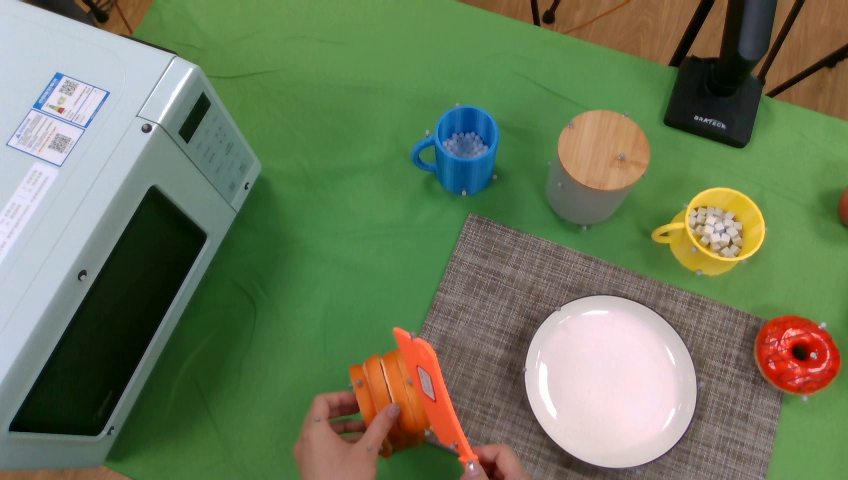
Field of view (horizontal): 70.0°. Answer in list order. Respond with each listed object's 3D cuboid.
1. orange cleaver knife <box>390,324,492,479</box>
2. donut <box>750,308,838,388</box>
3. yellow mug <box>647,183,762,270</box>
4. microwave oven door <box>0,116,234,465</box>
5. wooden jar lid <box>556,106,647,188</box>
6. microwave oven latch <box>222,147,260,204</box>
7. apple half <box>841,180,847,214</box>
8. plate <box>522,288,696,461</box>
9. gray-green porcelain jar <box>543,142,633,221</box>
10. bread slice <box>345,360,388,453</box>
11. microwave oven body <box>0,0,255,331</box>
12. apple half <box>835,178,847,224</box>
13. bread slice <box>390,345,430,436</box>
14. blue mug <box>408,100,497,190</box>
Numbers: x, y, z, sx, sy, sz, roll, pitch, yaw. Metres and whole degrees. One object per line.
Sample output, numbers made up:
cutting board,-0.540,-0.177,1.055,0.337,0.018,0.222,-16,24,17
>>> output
orange cleaver knife,0.021,0.175,0.588,0.012,0.077,0.212,-30,101,-30
donut,0.454,0.133,0.748,0.099,0.048,0.098,0,72,2
yellow mug,0.360,-0.016,0.792,0.131,0.064,0.099,-2,72,1
microwave oven door,-0.343,0.069,0.668,0.039,0.245,0.354,21,73,8
wooden jar lid,0.212,-0.110,0.729,0.108,0.021,0.107,0,70,1
microwave oven latch,-0.253,-0.091,0.825,0.030,0.029,0.079,24,75,9
apple half,0.601,-0.055,0.795,0.053,0.075,0.080,-9,68,-7
plate,0.223,0.163,0.747,0.207,0.039,0.206,0,72,2
gray-green porcelain jar,0.214,-0.090,0.788,0.106,0.127,0.105,0,71,1
bread slice,-0.067,0.188,0.699,0.018,0.135,0.106,-20,70,-10
microwave oven body,-0.460,-0.018,0.705,0.325,0.261,0.440,21,74,8
apple half,0.563,-0.047,0.792,0.033,0.082,0.080,-10,71,-7
bread slice,-0.016,0.173,0.701,0.019,0.132,0.104,-16,73,-8
blue mug,0.037,-0.124,0.814,0.116,0.106,0.082,-5,71,0
